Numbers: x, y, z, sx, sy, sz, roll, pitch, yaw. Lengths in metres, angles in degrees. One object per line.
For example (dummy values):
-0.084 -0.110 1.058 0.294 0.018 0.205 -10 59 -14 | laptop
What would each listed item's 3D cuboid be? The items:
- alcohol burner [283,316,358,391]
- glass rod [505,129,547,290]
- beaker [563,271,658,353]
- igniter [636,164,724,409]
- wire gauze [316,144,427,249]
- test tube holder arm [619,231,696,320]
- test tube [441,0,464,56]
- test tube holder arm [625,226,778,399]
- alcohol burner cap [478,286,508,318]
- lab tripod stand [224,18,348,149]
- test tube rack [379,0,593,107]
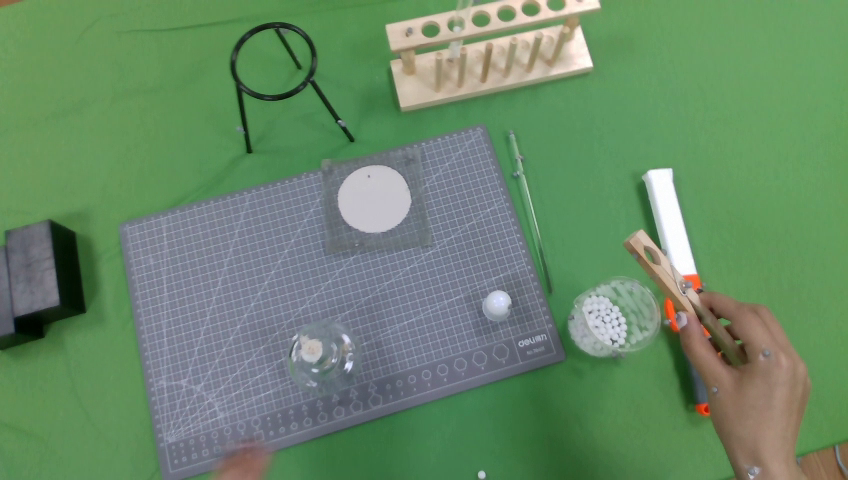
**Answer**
-0.108 0.114 0.616 0.078 0.120 0.077 -1 75 3 | alcohol burner
0.119 -0.039 0.709 0.008 0.008 0.198 -11 78 -2 | glass rod
0.186 0.078 0.632 0.084 0.101 0.073 15 75 6 | beaker
0.285 0.046 0.676 0.057 0.025 0.275 -6 75 -11 | igniter
-0.063 -0.051 0.712 0.125 0.011 0.121 -5 77 -2 | wire gauze
0.190 0.029 0.489 0.010 0.015 0.088 -41 91 -6 | test tube holder arm
0.033 -0.250 0.673 0.017 0.151 0.017 1 75 -4 | test tube
0.225 0.059 0.490 0.013 0.015 0.178 -42 91 -6 | test tube holder arm
0.077 0.065 0.663 0.034 0.048 0.033 0 75 1 | alcohol burner cap
-0.162 -0.168 0.682 0.148 0.132 0.147 0 77 1 | lab tripod stand
0.075 -0.232 0.720 0.242 0.085 0.066 -13 75 -2 | test tube rack
